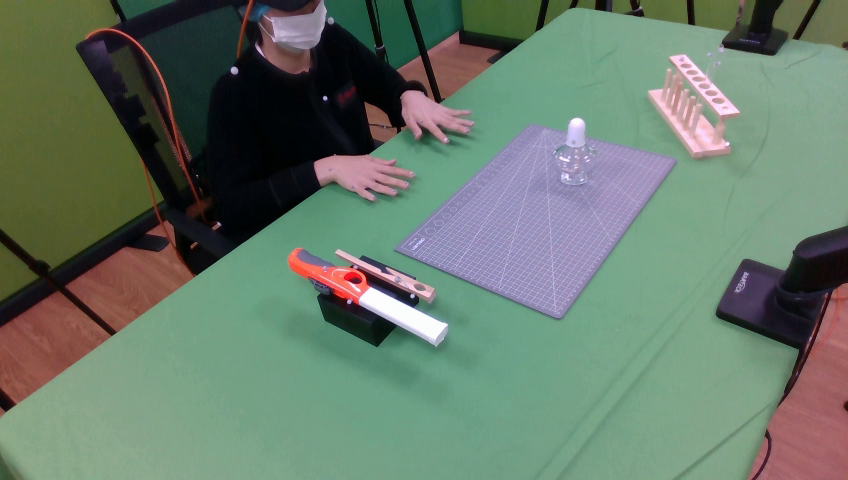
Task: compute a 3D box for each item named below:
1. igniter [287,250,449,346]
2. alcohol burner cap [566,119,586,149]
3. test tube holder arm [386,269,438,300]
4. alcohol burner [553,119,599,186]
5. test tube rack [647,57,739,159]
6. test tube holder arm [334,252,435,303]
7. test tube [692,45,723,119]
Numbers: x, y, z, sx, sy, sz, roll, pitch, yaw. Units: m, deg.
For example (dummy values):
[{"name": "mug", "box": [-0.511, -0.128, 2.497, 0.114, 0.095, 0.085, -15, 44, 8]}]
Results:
[{"name": "igniter", "box": [-0.087, 0.073, 0.825, 0.274, 0.025, 0.057, 23, 48, 27]}, {"name": "alcohol burner cap", "box": [0.257, -0.180, 1.018, 0.034, 0.048, 0.033, -4, 36, 4]}, {"name": "test tube holder arm", "box": [-0.020, 0.060, 0.834, 0.087, 0.015, 0.010, 20, 54, 30]}, {"name": "alcohol burner", "box": [0.261, -0.153, 1.042, 0.078, 0.119, 0.077, -6, 40, 6]}, {"name": "test tube rack", "box": [0.504, -0.257, 1.153, 0.067, 0.085, 0.241, -7, 40, 1]}, {"name": "test tube holder arm", "box": [-0.060, 0.051, 0.853, 0.177, 0.015, 0.013, 19, 54, 29]}, {"name": "test tube", "box": [0.517, -0.285, 1.106, 0.017, 0.151, 0.017, -2, 46, 3]}]
